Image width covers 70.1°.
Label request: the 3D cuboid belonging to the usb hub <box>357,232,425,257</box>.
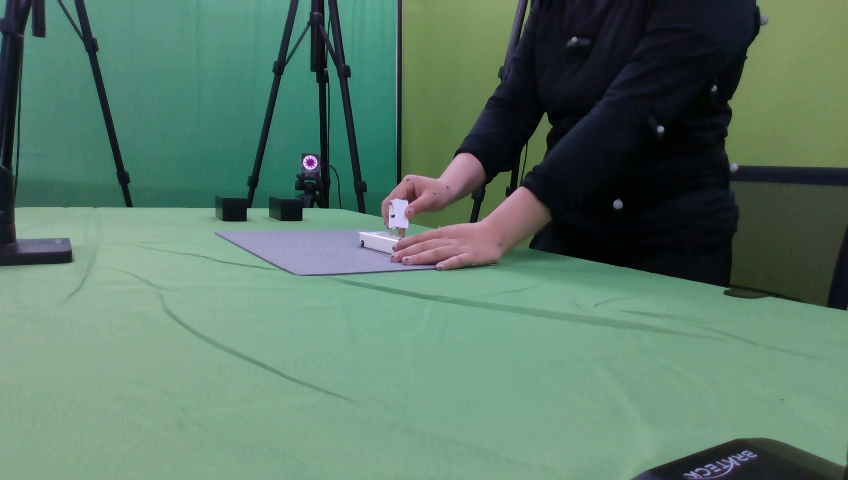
[{"bbox_3d":[-0.054,0.005,0.947,0.050,0.025,0.124,-3,9,-36],"label":"usb hub"}]

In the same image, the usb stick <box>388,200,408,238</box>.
[{"bbox_3d":[-0.040,-0.032,0.940,0.021,0.059,0.027,-4,-2,45],"label":"usb stick"}]
